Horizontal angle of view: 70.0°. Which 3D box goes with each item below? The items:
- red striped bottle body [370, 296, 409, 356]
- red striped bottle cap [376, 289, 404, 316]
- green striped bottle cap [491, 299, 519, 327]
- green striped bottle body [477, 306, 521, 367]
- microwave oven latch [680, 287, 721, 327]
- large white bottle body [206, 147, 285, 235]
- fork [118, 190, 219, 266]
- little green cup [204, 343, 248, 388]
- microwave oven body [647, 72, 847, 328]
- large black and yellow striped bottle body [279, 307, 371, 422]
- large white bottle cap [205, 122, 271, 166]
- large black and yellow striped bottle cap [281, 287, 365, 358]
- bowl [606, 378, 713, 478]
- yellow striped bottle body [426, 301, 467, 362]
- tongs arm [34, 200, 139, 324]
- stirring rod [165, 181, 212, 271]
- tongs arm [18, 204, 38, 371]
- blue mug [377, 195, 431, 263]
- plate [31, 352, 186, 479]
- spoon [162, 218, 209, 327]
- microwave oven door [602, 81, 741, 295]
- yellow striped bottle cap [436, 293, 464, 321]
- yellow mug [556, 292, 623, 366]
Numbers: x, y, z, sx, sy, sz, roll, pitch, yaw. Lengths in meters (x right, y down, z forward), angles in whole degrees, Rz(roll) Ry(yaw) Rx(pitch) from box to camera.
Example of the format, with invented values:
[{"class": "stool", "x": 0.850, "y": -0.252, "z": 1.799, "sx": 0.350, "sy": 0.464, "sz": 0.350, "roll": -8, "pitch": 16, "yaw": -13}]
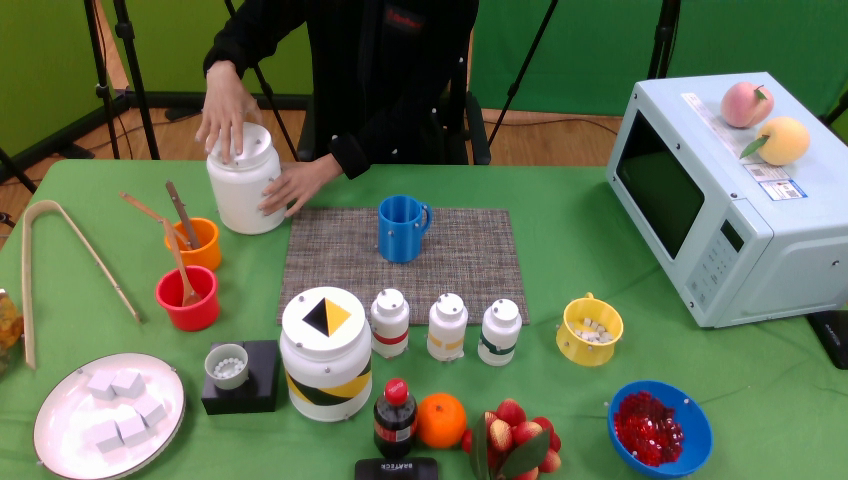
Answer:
[{"class": "red striped bottle body", "x": -0.058, "y": 0.134, "z": 0.997, "sx": 0.063, "sy": 0.120, "sz": 0.062, "roll": 4, "pitch": 47, "yaw": -4}, {"class": "red striped bottle cap", "x": -0.055, "y": 0.098, "z": 0.959, "sx": 0.044, "sy": 0.018, "sz": 0.044, "roll": 0, "pitch": 48, "yaw": 0}, {"class": "green striped bottle cap", "x": 0.128, "y": 0.115, "z": 0.958, "sx": 0.044, "sy": 0.020, "sz": 0.044, "roll": 1, "pitch": 47, "yaw": -1}, {"class": "green striped bottle body", "x": 0.124, "y": 0.151, "z": 0.995, "sx": 0.063, "sy": 0.120, "sz": 0.063, "roll": 2, "pitch": 46, "yaw": -2}, {"class": "microwave oven latch", "x": 0.494, "y": 0.119, "z": 1.087, "sx": 0.030, "sy": 0.029, "sz": 0.078, "roll": -6, "pitch": 46, "yaw": -10}, {"class": "large white bottle body", "x": -0.344, "y": -0.116, "z": 1.169, "sx": 0.131, "sy": 0.185, "sz": 0.130, "roll": 2, "pitch": 46, "yaw": -2}, {"class": "fork", "x": -0.459, "y": -0.020, "z": 1.092, "sx": 0.208, "sy": 0.018, "sz": 0.028, "roll": 44, "pitch": 44, "yaw": -24}, {"class": "little green cup", "x": -0.294, "y": 0.191, "z": 0.909, "sx": 0.061, "sy": 0.039, "sz": 0.061, "roll": 1, "pitch": 48, "yaw": -1}, {"class": "microwave oven body", "x": 0.607, "y": -0.089, "z": 1.164, "sx": 0.326, "sy": 0.261, "sz": 0.438, "roll": -7, "pitch": 46, "yaw": -10}, {"class": "large black and yellow striped bottle body", "x": -0.145, "y": 0.173, "z": 0.907, "sx": 0.131, "sy": 0.185, "sz": 0.130, "roll": 2, "pitch": 46, "yaw": -2}, {"class": "large white bottle cap", "x": -0.339, "y": -0.176, "z": 1.106, "sx": 0.115, "sy": 0.018, "sz": 0.114, "roll": 2, "pitch": 46, "yaw": -2}, {"class": "large black and yellow striped bottle cap", "x": -0.141, "y": 0.112, "z": 0.847, "sx": 0.115, "sy": 0.019, "sz": 0.114, "roll": 5, "pitch": 45, "yaw": -4}, {"class": "bowl", "x": 0.340, "y": 0.292, "z": 0.906, "sx": 0.151, "sy": 0.077, "sz": 0.150, "roll": 2, "pitch": 46, "yaw": -2}, {"class": "yellow striped bottle body", "x": 0.037, "y": 0.142, "z": 0.996, "sx": 0.063, "sy": 0.121, "sz": 0.062, "roll": 2, "pitch": 47, "yaw": -2}, {"class": "tongs arm", "x": -0.622, "y": 0.034, "z": 1.105, "sx": 0.051, "sy": 0.026, "sz": 0.382, "roll": -32, "pitch": 56, "yaw": -25}, {"class": "stirring rod", "x": -0.430, "y": -0.025, "z": 1.107, "sx": 0.014, "sy": 0.006, "sz": 0.176, "roll": -25, "pitch": 95, "yaw": -21}, {"class": "tongs arm", "x": -0.698, "y": 0.070, "z": 1.069, "sx": 0.028, "sy": 0.028, "sz": 0.385, "roll": -21, "pitch": 51, "yaw": -13}, {"class": "blue mug", "x": -0.035, "y": -0.027, "z": 1.159, "sx": 0.116, "sy": 0.106, "sz": 0.082, "roll": -24, "pitch": 53, "yaw": -25}, {"class": "plate", "x": -0.459, "y": 0.262, "z": 0.898, "sx": 0.209, "sy": 0.038, "sz": 0.208, "roll": 2, "pitch": 45, "yaw": -2}, {"class": "spoon", "x": -0.409, "y": 0.054, "z": 1.029, "sx": 0.041, "sy": 0.021, "sz": 0.194, "roll": -17, "pitch": 94, "yaw": -15}, {"class": "microwave oven door", "x": 0.456, "y": -0.107, "z": 1.162, "sx": 0.039, "sy": 0.245, "sz": 0.353, "roll": -6, "pitch": 47, "yaw": -11}, {"class": "yellow striped bottle cap", "x": 0.041, "y": 0.106, "z": 0.959, "sx": 0.044, "sy": 0.019, "sz": 0.044, "roll": 0, "pitch": 50, "yaw": 1}, {"class": "yellow mug", "x": 0.285, "y": 0.145, "z": 1.051, "sx": 0.100, "sy": 0.064, "sz": 0.130, "roll": 7, "pitch": 45, "yaw": 3}]
